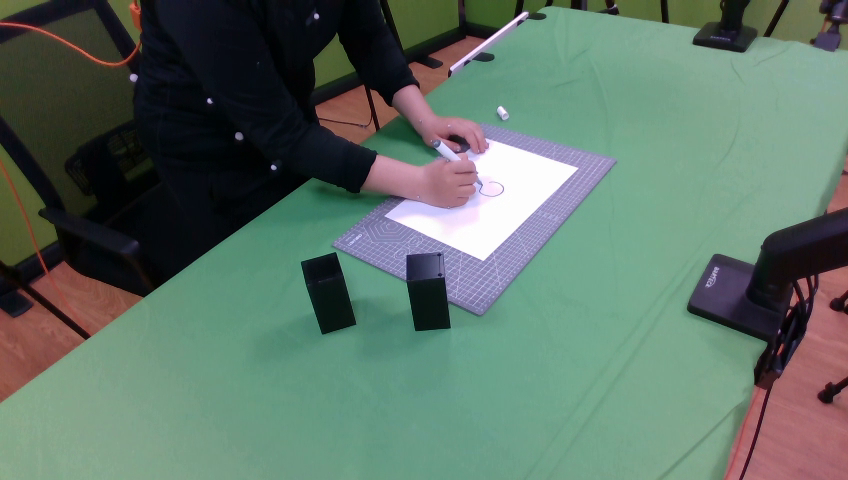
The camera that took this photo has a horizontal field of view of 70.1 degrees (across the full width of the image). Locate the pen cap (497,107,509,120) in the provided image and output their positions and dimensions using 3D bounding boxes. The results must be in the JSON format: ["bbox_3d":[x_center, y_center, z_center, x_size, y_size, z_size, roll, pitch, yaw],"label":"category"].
[{"bbox_3d":[0.164,-0.264,1.262,0.017,0.017,0.038,-14,41,-7],"label":"pen cap"}]

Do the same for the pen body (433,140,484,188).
[{"bbox_3d":[0.062,-0.125,1.031,0.017,0.145,0.017,-22,51,31],"label":"pen body"}]
